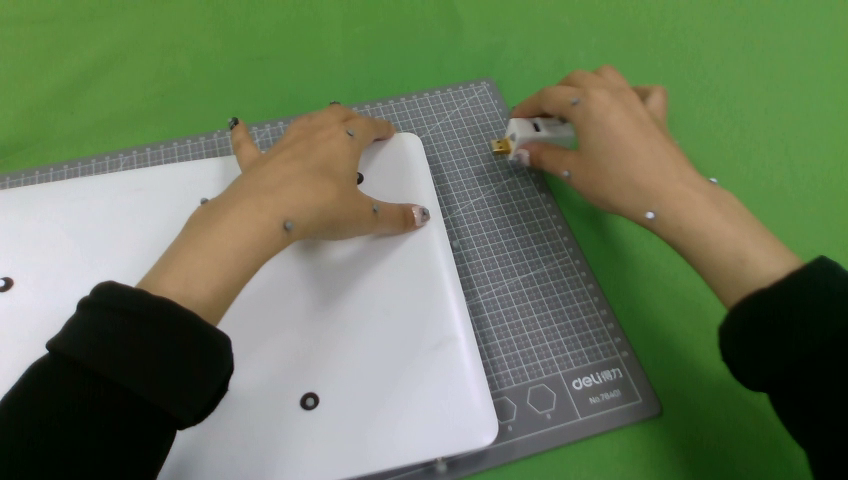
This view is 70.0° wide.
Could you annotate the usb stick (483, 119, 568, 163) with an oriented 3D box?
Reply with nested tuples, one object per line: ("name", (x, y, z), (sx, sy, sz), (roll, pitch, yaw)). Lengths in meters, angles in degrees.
("usb stick", (0.073, -0.073, 0.445), (0.059, 0.027, 0.021), (-7, 54, -9))

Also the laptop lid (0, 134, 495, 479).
("laptop lid", (-0.153, 0.046, 0.370), (0.357, 0.013, 0.239), (-8, 60, -7))

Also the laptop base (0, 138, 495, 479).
("laptop base", (-0.153, 0.051, 0.381), (0.355, 0.023, 0.233), (-10, 61, -8))
